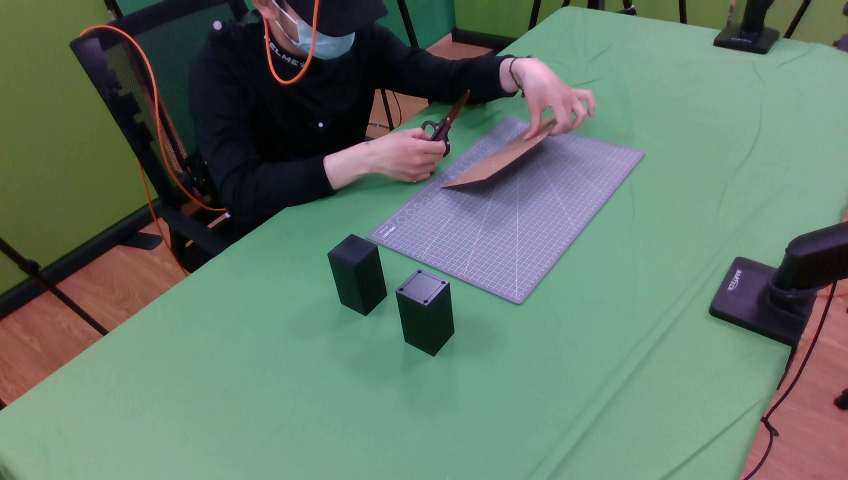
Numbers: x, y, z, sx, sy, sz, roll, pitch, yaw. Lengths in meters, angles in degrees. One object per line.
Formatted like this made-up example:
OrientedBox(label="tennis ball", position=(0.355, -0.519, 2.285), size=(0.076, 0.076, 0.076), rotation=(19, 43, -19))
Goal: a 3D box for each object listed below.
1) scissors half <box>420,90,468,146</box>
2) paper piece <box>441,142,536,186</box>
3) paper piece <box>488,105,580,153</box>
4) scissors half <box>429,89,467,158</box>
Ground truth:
OrientedBox(label="scissors half", position=(0.033, -0.219, 1.071), size=(0.013, 0.174, 0.040), rotation=(-36, 90, -33))
OrientedBox(label="paper piece", position=(0.111, -0.134, 1.063), size=(0.136, 0.004, 0.134), rotation=(-35, 16, -29))
OrientedBox(label="paper piece", position=(0.205, -0.205, 1.130), size=(0.138, 0.009, 0.135), rotation=(-39, 20, -28))
OrientedBox(label="scissors half", position=(0.045, -0.203, 1.068), size=(0.013, 0.175, 0.040), rotation=(-30, 70, -32))
